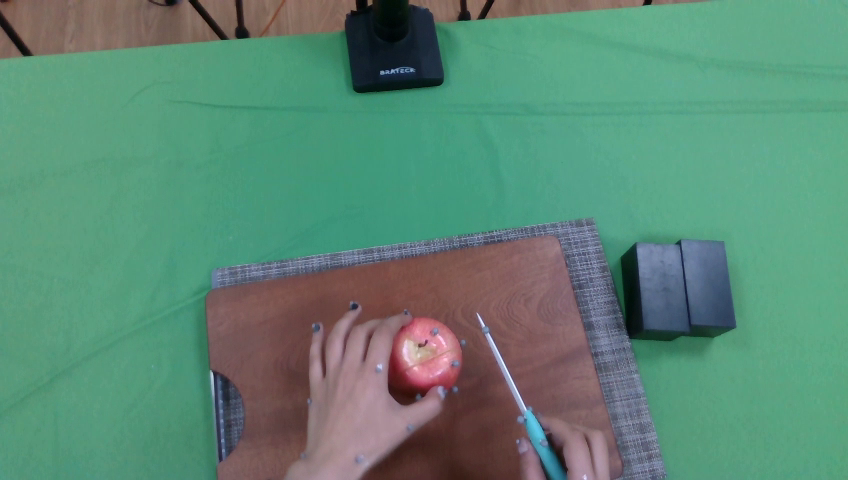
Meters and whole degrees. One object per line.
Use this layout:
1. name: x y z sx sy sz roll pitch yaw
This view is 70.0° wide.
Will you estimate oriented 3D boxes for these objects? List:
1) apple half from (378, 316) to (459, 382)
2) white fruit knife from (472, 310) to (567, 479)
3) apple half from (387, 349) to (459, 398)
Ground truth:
1. apple half: -0.011 0.106 0.613 0.081 0.075 0.053 -24 68 -7
2. white fruit knife: 0.087 0.154 0.528 0.016 0.027 0.207 -27 92 -12
3. apple half: 0.004 0.139 0.600 0.081 0.082 0.032 -22 68 -11
